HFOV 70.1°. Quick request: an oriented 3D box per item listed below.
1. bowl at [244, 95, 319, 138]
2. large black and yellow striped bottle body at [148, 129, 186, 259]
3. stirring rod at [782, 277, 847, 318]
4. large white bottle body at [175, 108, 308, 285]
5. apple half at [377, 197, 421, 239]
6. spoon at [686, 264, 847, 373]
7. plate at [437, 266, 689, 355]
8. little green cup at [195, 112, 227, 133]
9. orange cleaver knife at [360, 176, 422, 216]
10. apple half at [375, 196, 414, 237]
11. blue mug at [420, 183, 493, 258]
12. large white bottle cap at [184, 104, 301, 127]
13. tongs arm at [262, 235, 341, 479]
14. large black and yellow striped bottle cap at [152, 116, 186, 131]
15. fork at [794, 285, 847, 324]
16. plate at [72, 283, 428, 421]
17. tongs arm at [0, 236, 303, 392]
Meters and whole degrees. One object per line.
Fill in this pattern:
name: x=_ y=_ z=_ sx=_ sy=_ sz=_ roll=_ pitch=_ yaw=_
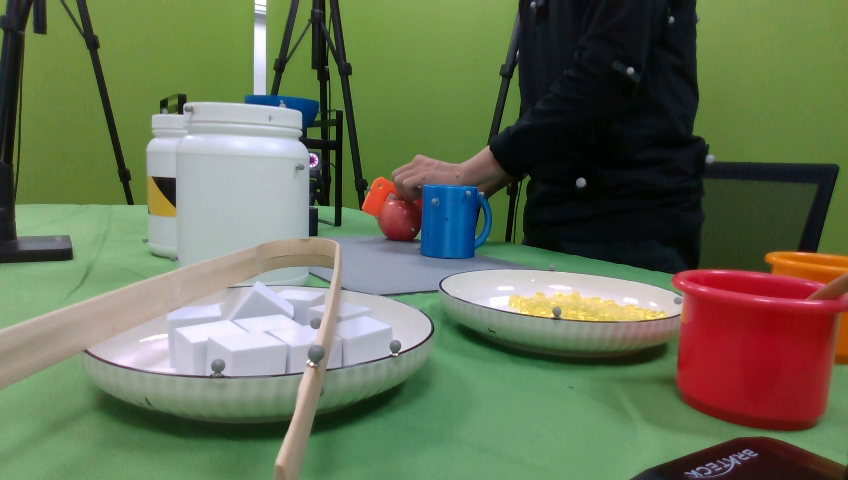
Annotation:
bowl: x=-0.293 y=-0.251 z=1.249 sx=0.151 sy=0.077 sz=0.151 roll=2 pitch=8 yaw=0
large black and yellow striped bottle body: x=-0.310 y=-0.072 z=0.838 sx=0.131 sy=0.184 sz=0.130 roll=2 pitch=8 yaw=0
stirring rod: x=0.345 y=0.019 z=0.461 sx=0.014 sy=0.006 sz=0.176 roll=-13 pitch=-27 yaw=-30
large white bottle body: x=-0.188 y=-0.042 z=0.630 sx=0.131 sy=0.184 sz=0.130 roll=2 pitch=8 yaw=0
apple half: x=-0.036 y=-0.037 z=1.056 sx=0.081 sy=0.074 sz=0.053 roll=3 pitch=10 yaw=-28
spoon: x=0.214 y=0.032 z=0.327 sx=0.042 sy=0.021 sz=0.193 roll=-3 pitch=-35 yaw=-26
plate: x=0.114 y=0.057 z=0.517 sx=0.209 sy=0.038 sz=0.209 roll=3 pitch=7 yaw=0
little green cup: x=-0.412 y=-0.227 z=1.171 sx=0.061 sy=0.038 sz=0.061 roll=3 pitch=8 yaw=0
orange cleaver knife: x=-0.013 y=-0.065 z=1.094 sx=0.212 sy=0.077 sz=0.012 roll=7 pitch=10 yaw=-27
apple half: x=-0.059 y=-0.042 z=1.094 sx=0.082 sy=0.081 sz=0.032 roll=-2 pitch=3 yaw=-29
blue mug: x=0.052 y=-0.032 z=0.912 sx=0.117 sy=0.106 sz=0.082 roll=-1 pitch=8 yaw=-24
large white bottle cap: x=-0.184 y=-0.126 z=0.618 sx=0.115 sy=0.018 sz=0.115 roll=2 pitch=8 yaw=0
tongs arm: x=-0.073 y=0.039 z=0.349 sx=0.051 sy=0.026 sz=0.384 roll=-1 pitch=9 yaw=-3
large black and yellow striped bottle cap: x=-0.309 y=-0.155 z=0.826 sx=0.115 sy=0.019 sz=0.115 roll=3 pitch=6 yaw=0
fork: x=0.332 y=0.018 z=0.442 sx=0.028 sy=0.018 sz=0.207 roll=0 pitch=-36 yaw=-15
plate: x=-0.102 y=0.066 z=0.381 sx=0.208 sy=0.039 sz=0.207 roll=2 pitch=7 yaw=0
tongs arm: x=-0.157 y=0.037 z=0.351 sx=0.028 sy=0.028 sz=0.388 roll=-2 pitch=8 yaw=12
